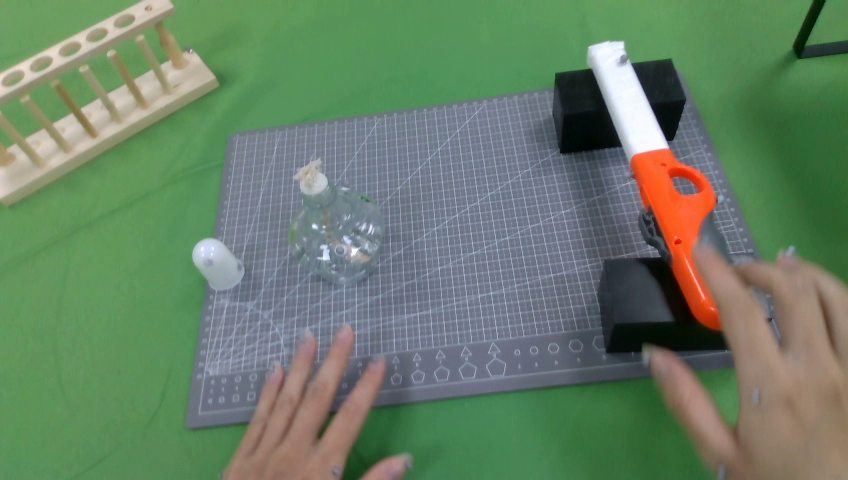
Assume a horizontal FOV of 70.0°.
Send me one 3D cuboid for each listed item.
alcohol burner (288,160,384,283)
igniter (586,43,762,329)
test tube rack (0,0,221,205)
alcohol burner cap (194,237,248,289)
[{"bbox_3d":[-0.072,-0.018,0.472,0.078,0.120,0.077,-4,55,7],"label":"alcohol burner"},{"bbox_3d":[0.175,-0.055,0.453,0.057,0.025,0.273,-11,55,3],"label":"igniter"},{"bbox_3d":[-0.341,-0.144,0.614,0.242,0.086,0.066,-34,59,-14],"label":"test tube rack"},{"bbox_3d":[-0.172,0.016,0.508,0.034,0.048,0.033,-4,58,7],"label":"alcohol burner cap"}]
